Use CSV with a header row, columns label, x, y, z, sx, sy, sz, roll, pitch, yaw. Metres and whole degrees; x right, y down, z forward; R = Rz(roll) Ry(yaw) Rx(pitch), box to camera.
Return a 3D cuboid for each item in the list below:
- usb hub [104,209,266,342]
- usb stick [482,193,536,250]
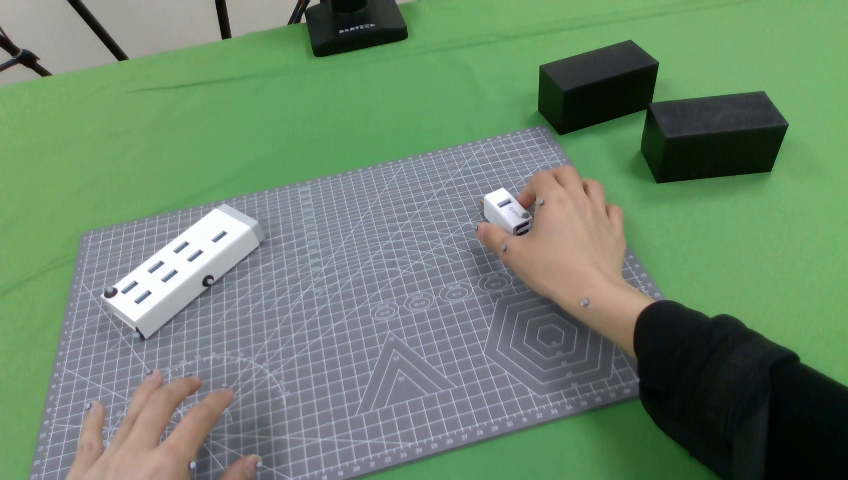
label,x,y,z,sx,sy,sz,roll,pitch,yaw
usb hub,-0.193,0.025,0.498,0.049,0.025,0.125,25,54,29
usb stick,0.068,-0.019,0.504,0.021,0.027,0.058,-31,45,-11
